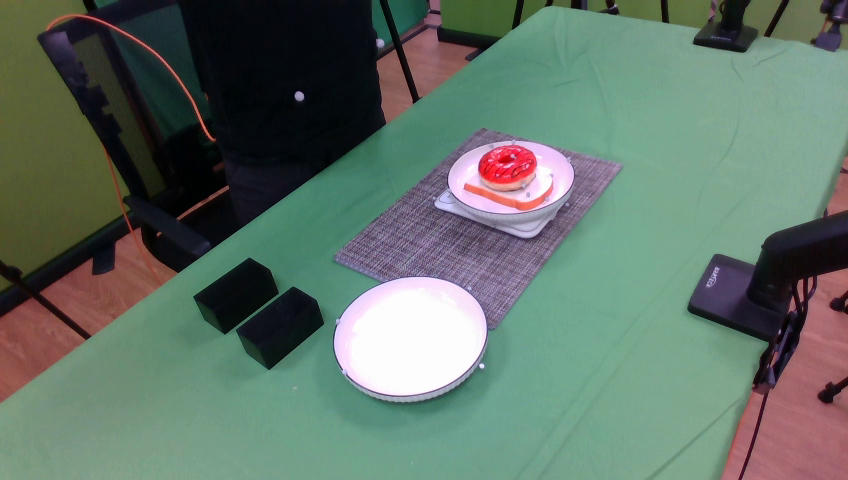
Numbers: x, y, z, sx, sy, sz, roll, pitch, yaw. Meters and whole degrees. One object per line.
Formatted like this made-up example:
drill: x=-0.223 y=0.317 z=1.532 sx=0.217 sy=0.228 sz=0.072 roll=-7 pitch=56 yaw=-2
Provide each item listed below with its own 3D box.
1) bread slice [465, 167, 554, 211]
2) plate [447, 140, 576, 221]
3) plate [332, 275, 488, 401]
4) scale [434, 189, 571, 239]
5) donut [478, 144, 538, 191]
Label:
bread slice: x=0.149 y=-0.095 z=0.999 sx=0.130 sy=0.019 sz=0.105 roll=25 pitch=52 yaw=33
plate: x=0.143 y=-0.094 z=0.995 sx=0.209 sy=0.038 sz=0.208 roll=-4 pitch=41 yaw=4
plate: x=-0.017 y=0.131 z=0.808 sx=0.207 sy=0.039 sz=0.206 roll=-4 pitch=41 yaw=4
scale: x=0.132 y=-0.075 z=1.025 sx=0.199 sy=0.032 sz=0.149 roll=22 pitch=48 yaw=30
donut: x=0.135 y=-0.119 z=0.983 sx=0.099 sy=0.048 sz=0.098 roll=-7 pitch=41 yaw=7
